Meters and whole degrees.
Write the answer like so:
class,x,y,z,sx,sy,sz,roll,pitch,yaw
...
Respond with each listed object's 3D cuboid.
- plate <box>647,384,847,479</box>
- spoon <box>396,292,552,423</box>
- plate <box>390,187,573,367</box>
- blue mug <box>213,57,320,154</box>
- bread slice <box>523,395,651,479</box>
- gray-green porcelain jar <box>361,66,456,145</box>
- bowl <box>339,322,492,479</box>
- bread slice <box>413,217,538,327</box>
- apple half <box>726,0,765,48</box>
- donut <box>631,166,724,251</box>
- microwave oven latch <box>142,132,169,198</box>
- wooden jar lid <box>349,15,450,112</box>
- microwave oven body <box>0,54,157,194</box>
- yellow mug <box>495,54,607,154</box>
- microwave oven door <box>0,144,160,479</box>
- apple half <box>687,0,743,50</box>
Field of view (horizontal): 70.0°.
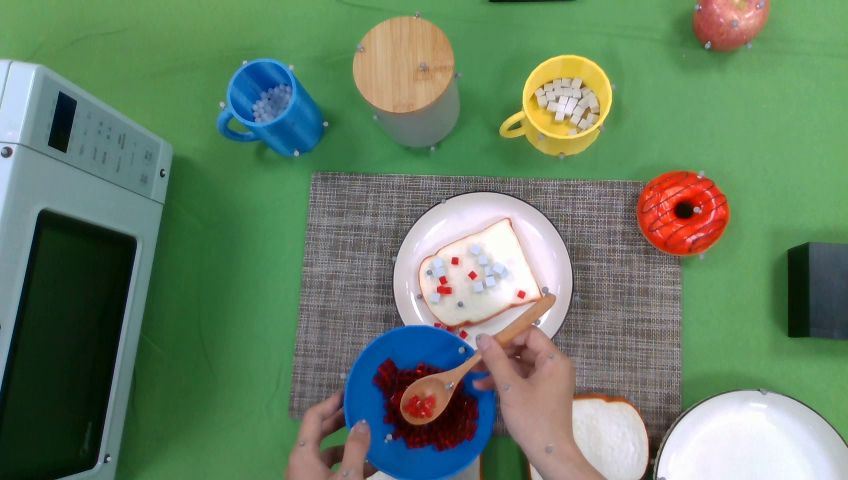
class,x,y,z,sx,sy,sz,roll,pitch,yaw
plate,0.342,0.257,0.641,0.209,0.038,0.208,-1,81,7
spoon,0.047,0.113,0.582,0.194,0.022,0.041,-42,73,19
plate,0.065,0.042,0.704,0.207,0.039,0.207,-1,81,7
blue mug,-0.196,-0.153,0.734,0.116,0.106,0.082,-23,79,3
bread slice,0.176,0.220,0.640,0.135,0.018,0.106,-2,77,-14
gray-green porcelain jar,-0.017,-0.174,0.706,0.106,0.127,0.105,-1,81,7
bowl,-0.013,0.166,0.617,0.152,0.077,0.150,5,66,-10
bread slice,0.055,0.043,0.708,0.131,0.019,0.104,-23,79,-1
apple half,0.359,-0.269,0.703,0.053,0.075,0.080,-29,75,-4
donut,0.285,-0.035,0.686,0.099,0.048,0.098,-1,82,6
microwave oven latch,-0.343,-0.095,0.758,0.030,0.029,0.079,8,83,8
wooden jar lid,-0.025,-0.185,0.645,0.108,0.021,0.108,-1,79,7
microwave oven body,-0.522,0.049,0.659,0.325,0.261,0.440,6,82,7
yellow mug,0.145,-0.153,0.714,0.131,0.064,0.099,-21,79,3
microwave oven door,-0.384,0.104,0.629,0.039,0.245,0.354,5,82,8
apple half,0.326,-0.248,0.702,0.033,0.081,0.081,-30,78,-3
